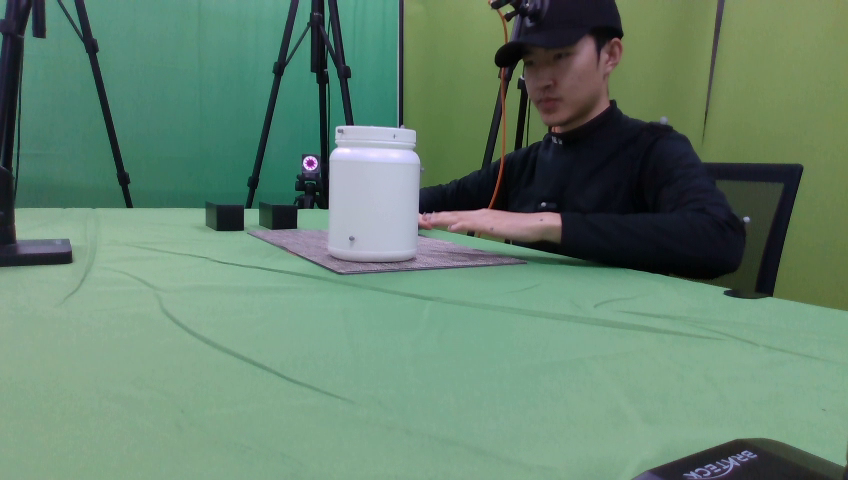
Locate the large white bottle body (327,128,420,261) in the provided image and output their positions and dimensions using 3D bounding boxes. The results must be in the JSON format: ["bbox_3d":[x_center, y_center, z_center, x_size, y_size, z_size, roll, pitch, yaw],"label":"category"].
[{"bbox_3d":[-0.072,-0.069,0.870,0.131,0.184,0.130,2,8,0],"label":"large white bottle body"}]

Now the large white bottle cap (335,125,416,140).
[{"bbox_3d":[-0.069,-0.151,0.859,0.115,0.018,0.115,2,8,0],"label":"large white bottle cap"}]
